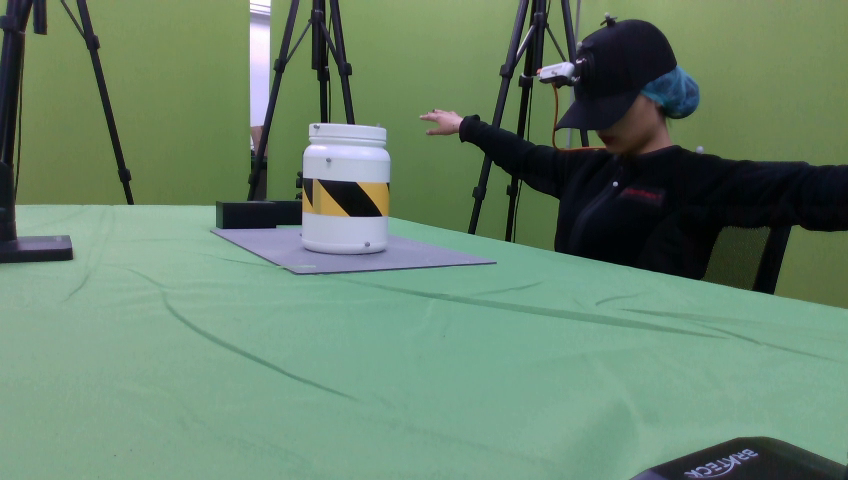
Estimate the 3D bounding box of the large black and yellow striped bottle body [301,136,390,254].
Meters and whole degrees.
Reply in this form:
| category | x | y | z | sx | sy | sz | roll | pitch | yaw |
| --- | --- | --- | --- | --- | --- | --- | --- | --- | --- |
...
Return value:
| category | x | y | z | sx | sy | sz | roll | pitch | yaw |
| --- | --- | --- | --- | --- | --- | --- | --- | --- | --- |
| large black and yellow striped bottle body | -0.118 | -0.077 | 0.912 | 0.131 | 0.184 | 0.130 | 3 | 7 | 0 |

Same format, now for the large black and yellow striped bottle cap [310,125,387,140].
| category | x | y | z | sx | sy | sz | roll | pitch | yaw |
| --- | --- | --- | --- | --- | --- | --- | --- | --- | --- |
| large black and yellow striped bottle cap | -0.112 | -0.160 | 0.901 | 0.115 | 0.019 | 0.115 | 1 | 8 | 0 |
